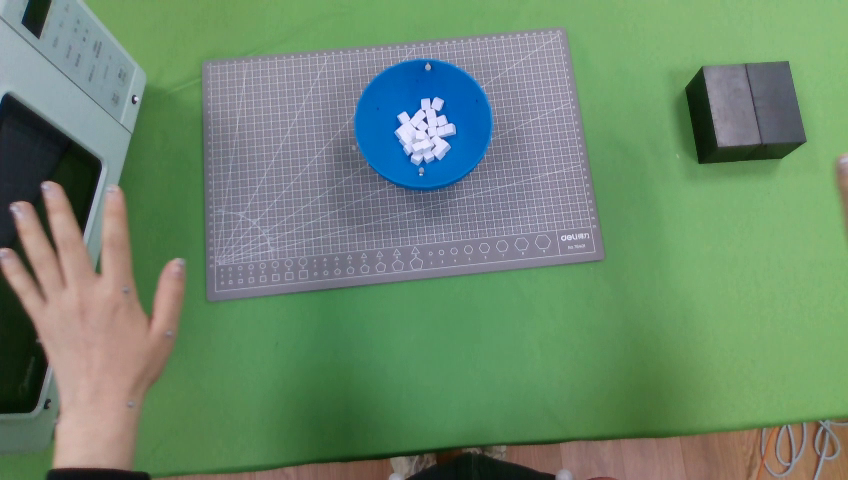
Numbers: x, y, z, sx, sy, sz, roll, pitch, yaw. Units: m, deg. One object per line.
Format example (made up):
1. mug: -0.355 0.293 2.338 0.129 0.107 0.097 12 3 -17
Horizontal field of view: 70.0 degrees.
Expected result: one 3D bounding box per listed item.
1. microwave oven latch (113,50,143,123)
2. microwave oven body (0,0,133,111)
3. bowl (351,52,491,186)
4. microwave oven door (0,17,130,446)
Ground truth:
1. microwave oven latch: -0.349 -0.178 0.699 0.030 0.029 0.079 9 78 2
2. microwave oven body: -0.521 -0.051 0.571 0.326 0.261 0.439 8 78 1
3. bowl: -0.003 -0.124 0.681 0.151 0.077 0.150 0 77 0
4. microwave oven door: -0.383 0.008 0.551 0.039 0.245 0.354 8 77 2
